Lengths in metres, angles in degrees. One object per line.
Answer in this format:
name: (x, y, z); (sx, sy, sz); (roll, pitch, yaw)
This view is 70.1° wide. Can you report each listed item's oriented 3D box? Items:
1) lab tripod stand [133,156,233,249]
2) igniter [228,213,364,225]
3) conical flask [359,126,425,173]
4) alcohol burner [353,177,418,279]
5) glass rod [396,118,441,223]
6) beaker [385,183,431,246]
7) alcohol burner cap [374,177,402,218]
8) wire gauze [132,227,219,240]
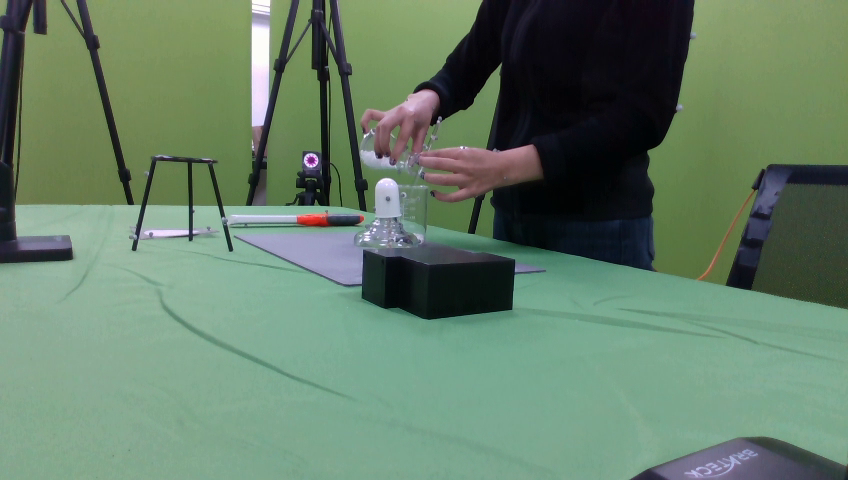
lab tripod stand: (-0.342, -0.054, 0.878); (0.148, 0.131, 0.148); (4, 6, 0)
igniter: (-0.252, -0.043, 1.227); (0.278, 0.025, 0.057); (-2, -3, -32)
conical flask: (-0.050, -0.145, 1.022); (0.076, 0.075, 0.121); (-4, 23, -41)
alcohol burner: (-0.044, -0.014, 0.710); (0.078, 0.119, 0.078); (4, 9, 0)
glass rod: (-0.011, -0.108, 0.980); (0.008, 0.199, 0.008); (18, 31, -11)
beaker: (-0.031, -0.043, 1.000); (0.084, 0.100, 0.074); (4, 7, 15)
alcohol burner cap: (-0.044, -0.049, 0.704); (0.034, 0.048, 0.034); (-4, 10, 1)
wire gauze: (-0.421, -0.014, 1.024); (0.122, 0.011, 0.124); (-2, 7, -34)
